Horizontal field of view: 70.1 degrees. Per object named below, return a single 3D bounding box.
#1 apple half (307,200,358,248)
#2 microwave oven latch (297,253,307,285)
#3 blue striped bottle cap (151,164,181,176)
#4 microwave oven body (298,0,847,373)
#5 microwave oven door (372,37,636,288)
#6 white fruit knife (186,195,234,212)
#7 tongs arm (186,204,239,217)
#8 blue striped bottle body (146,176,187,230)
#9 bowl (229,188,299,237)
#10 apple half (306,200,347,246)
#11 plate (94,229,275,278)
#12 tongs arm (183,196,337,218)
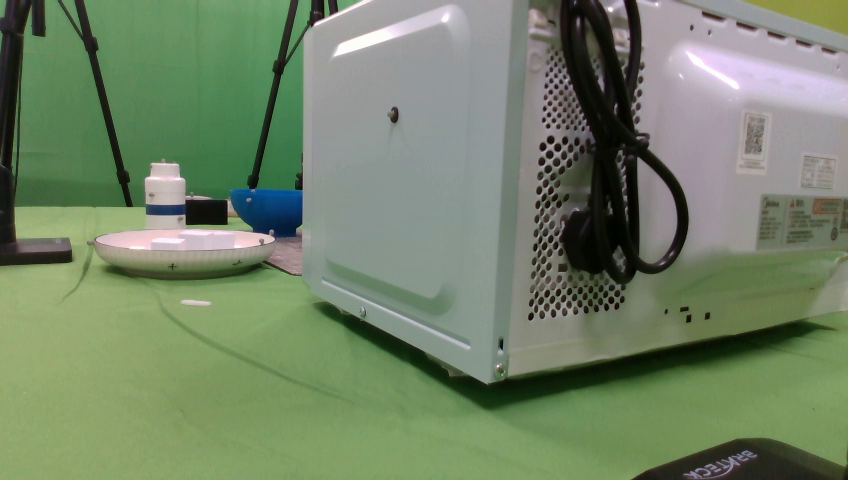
[{"bbox_3d":[-0.135,-0.023,0.939,0.053,0.074,0.081,16,11,43],"label":"apple half"},{"bbox_3d":[-0.082,0.027,0.582,0.079,0.029,0.030,-1,7,-33],"label":"microwave oven latch"},{"bbox_3d":[-0.428,-0.116,1.002,0.044,0.020,0.044,1,6,0],"label":"blue striped bottle cap"},{"bbox_3d":[0.151,-0.055,0.543,0.444,0.260,0.324,-1,7,-33],"label":"microwave oven body"},{"bbox_3d":[0.109,-0.080,0.686,0.358,0.243,0.039,-2,9,-33],"label":"microwave oven door"},{"bbox_3d":[-0.401,-0.072,1.276,0.208,0.027,0.016,10,1,-35],"label":"white fruit knife"},{"bbox_3d":[-0.396,-0.066,1.399,0.389,0.028,0.028,1,5,-15],"label":"tongs arm"},{"bbox_3d":[-0.430,-0.065,1.010,0.063,0.120,0.063,2,7,0],"label":"blue striped bottle body"},{"bbox_3d":[-0.265,-0.048,1.066,0.151,0.077,0.151,3,8,0],"label":"bowl"},{"bbox_3d":[-0.162,-0.029,0.965,0.032,0.081,0.082,13,13,43],"label":"apple half"},{"bbox_3d":[-0.291,0.016,0.750,0.208,0.039,0.207,2,7,0],"label":"plate"},{"bbox_3d":[-0.404,-0.081,1.479,0.385,0.026,0.050,3,8,-2],"label":"tongs arm"}]
